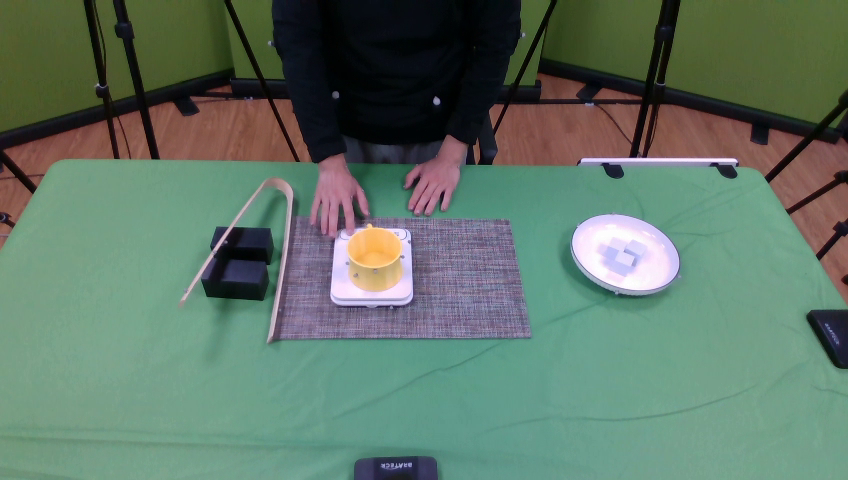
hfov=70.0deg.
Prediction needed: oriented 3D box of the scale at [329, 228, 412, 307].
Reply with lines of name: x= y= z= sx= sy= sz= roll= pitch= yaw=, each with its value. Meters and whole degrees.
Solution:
scale: x=-0.099 y=0.042 z=1.140 sx=0.149 sy=0.032 sz=0.199 roll=1 pitch=45 yaw=-4

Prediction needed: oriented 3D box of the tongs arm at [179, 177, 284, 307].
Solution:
tongs arm: x=-0.342 y=-0.008 z=1.117 sx=0.051 sy=0.026 sz=0.382 roll=29 pitch=38 yaw=-14

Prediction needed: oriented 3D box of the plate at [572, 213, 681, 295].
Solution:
plate: x=0.392 y=0.030 z=1.189 sx=0.208 sy=0.039 sz=0.206 roll=2 pitch=46 yaw=-2

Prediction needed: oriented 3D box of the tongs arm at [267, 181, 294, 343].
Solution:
tongs arm: x=-0.273 y=0.027 z=1.144 sx=0.028 sy=0.028 sz=0.385 roll=17 pitch=42 yaw=-22

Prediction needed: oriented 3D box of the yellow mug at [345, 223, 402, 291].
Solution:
yellow mug: x=-0.092 y=0.022 z=1.093 sx=0.100 sy=0.064 sz=0.130 roll=-7 pitch=46 yaw=-10
